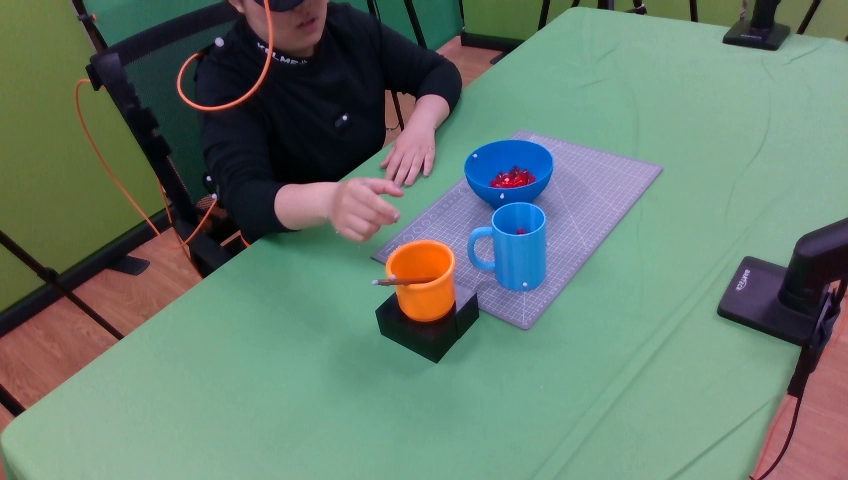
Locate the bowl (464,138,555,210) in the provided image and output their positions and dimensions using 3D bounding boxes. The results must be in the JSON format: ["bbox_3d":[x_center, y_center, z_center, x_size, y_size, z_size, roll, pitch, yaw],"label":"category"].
[{"bbox_3d":[0.145,-0.100,1.025,0.151,0.077,0.150,-5,40,5],"label":"bowl"}]

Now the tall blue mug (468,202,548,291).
[{"bbox_3d":[0.125,0.015,0.868,0.107,0.108,0.077,-21,42,-14],"label":"tall blue mug"}]

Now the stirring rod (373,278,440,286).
[{"bbox_3d":[-0.018,0.052,0.757,0.014,0.006,0.177,11,2,23],"label":"stirring rod"}]
